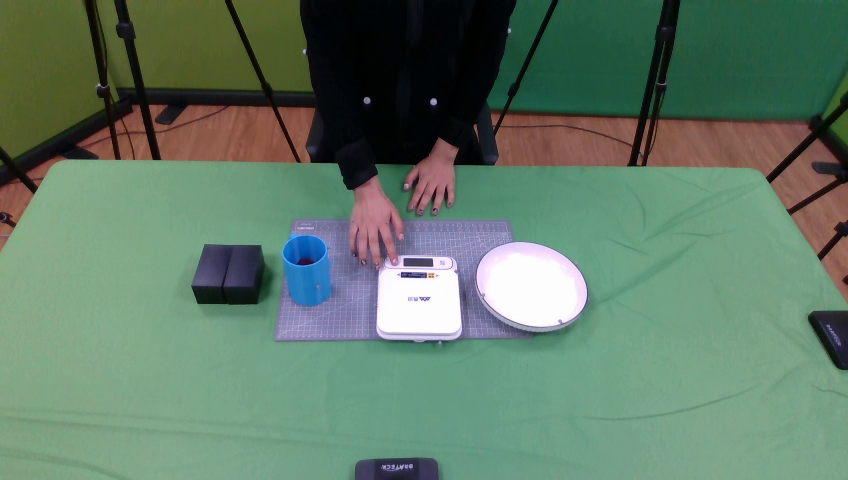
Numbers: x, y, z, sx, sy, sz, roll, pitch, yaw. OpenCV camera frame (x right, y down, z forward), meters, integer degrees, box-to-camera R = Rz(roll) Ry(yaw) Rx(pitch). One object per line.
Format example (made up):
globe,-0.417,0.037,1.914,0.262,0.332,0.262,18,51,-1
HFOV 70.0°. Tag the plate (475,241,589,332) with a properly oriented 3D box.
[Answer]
plate,0.195,0.087,1.112,0.209,0.038,0.208,3,46,-3

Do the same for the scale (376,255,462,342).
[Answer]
scale,-0.010,0.096,1.094,0.149,0.032,0.199,2,46,-3

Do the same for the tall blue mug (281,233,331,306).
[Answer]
tall blue mug,-0.219,0.046,1.073,0.107,0.108,0.077,28,52,21
